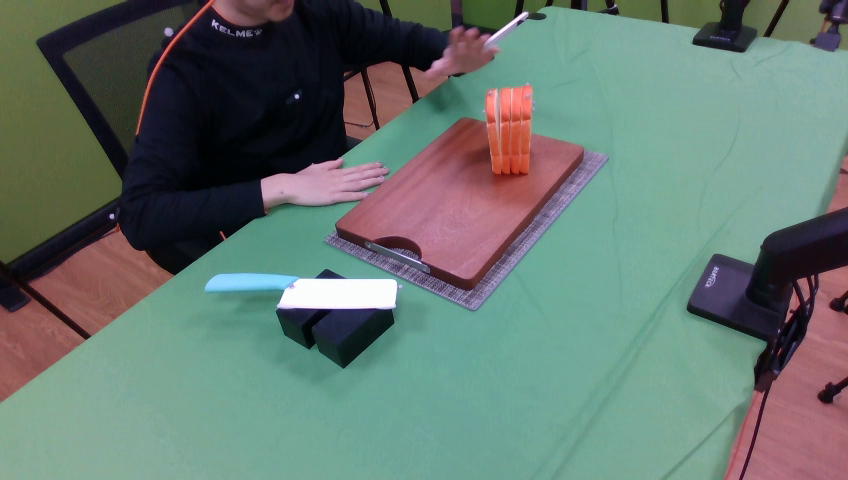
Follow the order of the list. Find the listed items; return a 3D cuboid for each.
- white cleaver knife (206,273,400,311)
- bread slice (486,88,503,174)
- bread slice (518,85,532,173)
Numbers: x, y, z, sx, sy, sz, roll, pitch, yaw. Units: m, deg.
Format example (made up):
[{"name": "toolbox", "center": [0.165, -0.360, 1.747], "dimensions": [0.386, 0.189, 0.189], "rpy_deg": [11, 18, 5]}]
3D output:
[{"name": "white cleaver knife", "center": [-0.173, 0.071, 0.846], "dimensions": [0.286, 0.021, 0.065], "rpy_deg": [0, 40, 11]}, {"name": "bread slice", "center": [0.123, -0.197, 1.054], "dimensions": [0.019, 0.132, 0.104], "rpy_deg": [-4, 39, 12]}, {"name": "bread slice", "center": [0.175, -0.196, 1.044], "dimensions": [0.018, 0.135, 0.106], "rpy_deg": [3, 44, 7]}]
